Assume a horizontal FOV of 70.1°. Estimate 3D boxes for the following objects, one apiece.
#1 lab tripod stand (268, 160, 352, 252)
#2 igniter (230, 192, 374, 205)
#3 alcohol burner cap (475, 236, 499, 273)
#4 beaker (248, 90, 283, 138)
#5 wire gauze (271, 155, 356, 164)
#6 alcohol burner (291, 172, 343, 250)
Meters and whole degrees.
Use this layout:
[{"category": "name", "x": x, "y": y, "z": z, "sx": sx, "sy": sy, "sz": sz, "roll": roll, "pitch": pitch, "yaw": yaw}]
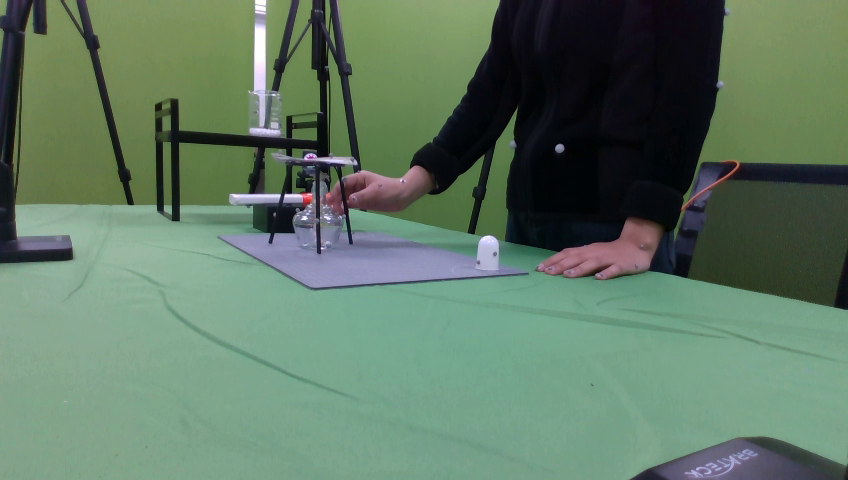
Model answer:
[{"category": "lab tripod stand", "x": -0.171, "y": -0.055, "z": 0.921, "sx": 0.148, "sy": 0.131, "sz": 0.148, "roll": 1, "pitch": 8, "yaw": 0}, {"category": "igniter", "x": -0.228, "y": -0.079, "z": 1.164, "sx": 0.278, "sy": 0.025, "sz": 0.057, "roll": -2, "pitch": 14, "yaw": -30}, {"category": "alcohol burner cap", "x": 0.084, "y": 0.019, "z": 0.799, "sx": 0.034, "sy": 0.048, "sz": 0.034, "roll": 2, "pitch": 6, "yaw": 0}, {"category": "beaker", "x": -0.354, "y": -0.278, "z": 1.340, "sx": 0.074, "sy": 0.100, "sz": 0.084, "roll": 6, "pitch": 9, "yaw": 26}, {"category": "wire gauze", "x": -0.167, "y": -0.122, "z": 0.917, "sx": 0.125, "sy": 0.011, "sz": 0.121, "roll": 0, "pitch": 8, "yaw": -9}, {"category": "alcohol burner", "x": -0.162, "y": -0.045, "z": 0.922, "sx": 0.078, "sy": 0.119, "sz": 0.078, "roll": 5, "pitch": 7, "yaw": 0}]
